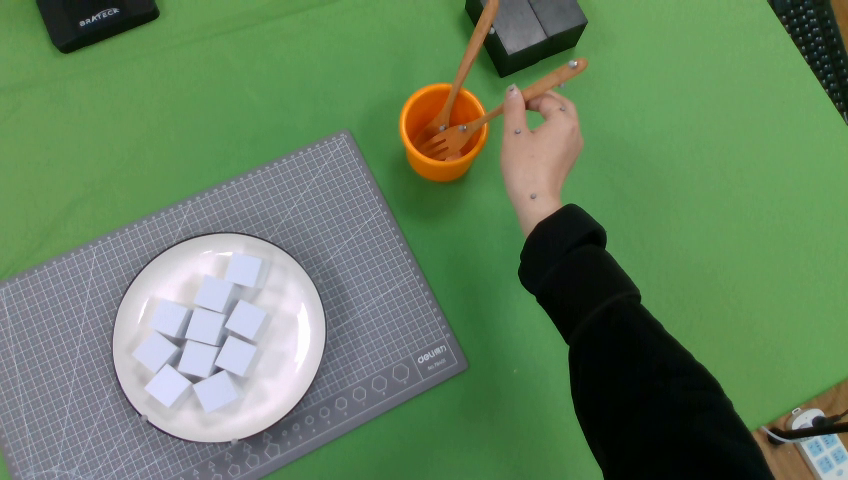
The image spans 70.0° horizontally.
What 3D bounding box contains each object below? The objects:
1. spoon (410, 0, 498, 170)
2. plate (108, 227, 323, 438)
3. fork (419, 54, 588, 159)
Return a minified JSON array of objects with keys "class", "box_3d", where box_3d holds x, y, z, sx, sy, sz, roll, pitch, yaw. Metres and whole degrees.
[{"class":"spoon","box_3d":[0.032,-0.157,0.623,0.041,0.194,0.021,32,35,9]},{"class":"plate","box_3d":[-0.205,0.092,0.612,0.208,0.039,0.206,1,78,-3]},{"class":"fork","box_3d":[0.069,-0.126,0.586,0.019,0.207,0.028,-14,84,-44]}]
